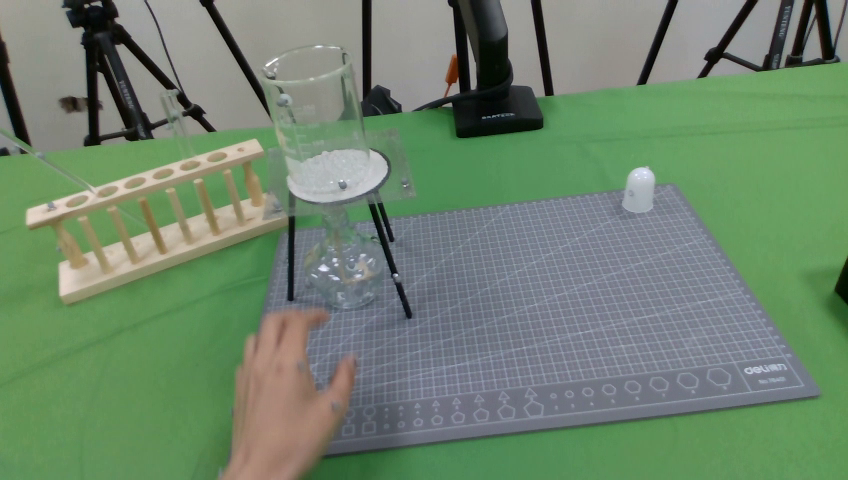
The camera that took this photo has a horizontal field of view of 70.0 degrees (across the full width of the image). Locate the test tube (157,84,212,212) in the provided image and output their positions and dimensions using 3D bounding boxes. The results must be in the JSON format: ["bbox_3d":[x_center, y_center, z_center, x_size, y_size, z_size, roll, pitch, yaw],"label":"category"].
[{"bbox_3d":[-0.258,-0.095,0.658,0.017,0.151,0.017,-4,36,3],"label":"test tube"}]

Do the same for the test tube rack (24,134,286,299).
[{"bbox_3d":[-0.284,-0.030,0.661,0.243,0.086,0.066,-22,40,-18],"label":"test tube rack"}]

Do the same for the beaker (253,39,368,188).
[{"bbox_3d":[-0.089,-0.100,0.488,0.083,0.101,0.073,13,42,26],"label":"beaker"}]

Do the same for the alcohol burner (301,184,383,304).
[{"bbox_3d":[-0.079,0.001,0.561,0.078,0.120,0.077,-5,37,4],"label":"alcohol burner"}]

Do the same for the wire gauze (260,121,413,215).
[{"bbox_3d":[-0.078,-0.063,0.519,0.125,0.011,0.120,-12,36,-2],"label":"wire gauze"}]

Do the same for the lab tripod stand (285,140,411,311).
[{"bbox_3d":[-0.071,-0.012,0.560,0.148,0.133,0.147,-5,40,4],"label":"lab tripod stand"}]

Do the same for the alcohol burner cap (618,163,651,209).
[{"bbox_3d":[0.226,-0.060,0.648,0.034,0.048,0.033,-4,38,4],"label":"alcohol burner cap"}]

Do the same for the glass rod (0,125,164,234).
[{"bbox_3d":[-0.348,-0.058,0.616,0.008,0.202,0.008,-21,47,25],"label":"glass rod"}]
